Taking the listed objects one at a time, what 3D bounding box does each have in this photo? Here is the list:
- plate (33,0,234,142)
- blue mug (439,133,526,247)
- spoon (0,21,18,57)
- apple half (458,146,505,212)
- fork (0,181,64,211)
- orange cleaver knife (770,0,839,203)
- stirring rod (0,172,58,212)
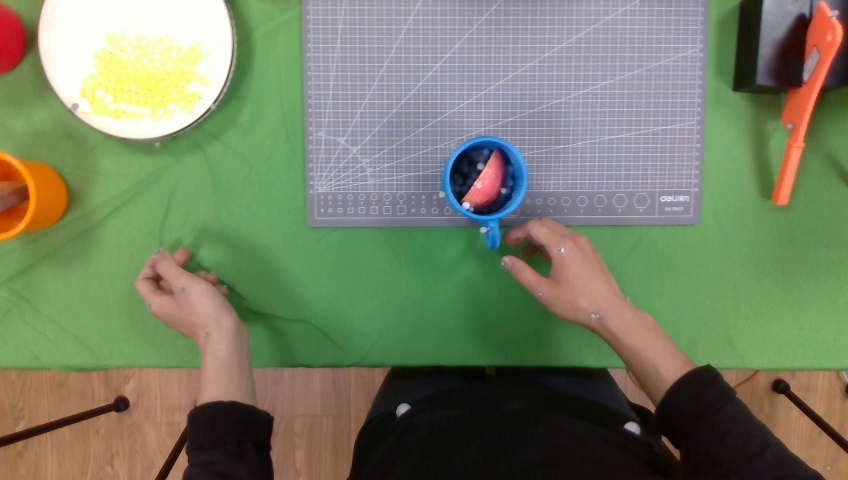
[{"bbox_3d":[-0.307,-0.211,0.654,0.209,0.038,0.209,0,96,0],"label":"plate"},{"bbox_3d":[0.061,-0.049,0.639,0.082,0.105,0.116,-11,95,1],"label":"blue mug"},{"bbox_3d":[-0.517,-0.219,0.597,0.195,0.021,0.041,2,95,-45],"label":"spoon"},{"bbox_3d":[0.066,-0.058,0.633,0.033,0.081,0.081,35,94,4],"label":"apple half"},{"bbox_3d":[-0.480,-0.060,0.609,0.209,0.018,0.028,14,93,-45],"label":"fork"},{"bbox_3d":[0.399,-0.144,0.650,0.012,0.076,0.213,2,122,8],"label":"orange cleaver knife"},{"bbox_3d":[-0.459,-0.023,0.619,0.014,0.006,0.176,51,51,-6],"label":"stirring rod"}]
